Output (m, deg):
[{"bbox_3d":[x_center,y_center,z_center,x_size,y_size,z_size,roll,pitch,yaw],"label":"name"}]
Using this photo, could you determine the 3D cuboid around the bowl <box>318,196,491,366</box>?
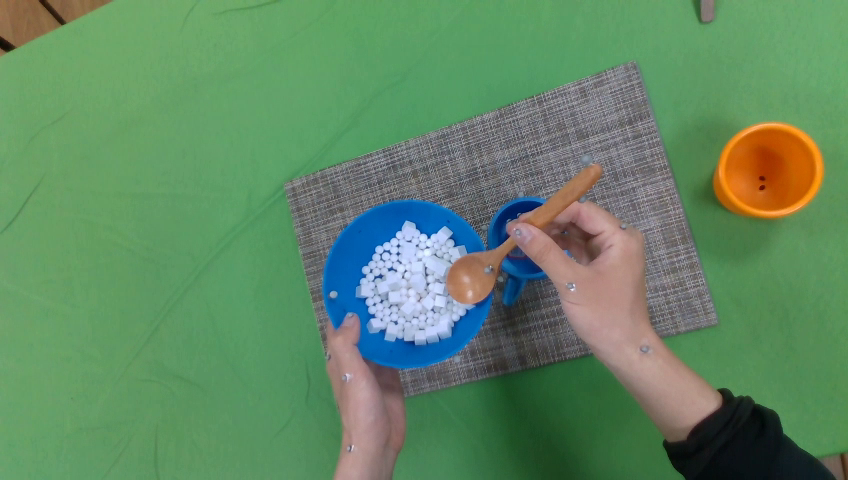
[{"bbox_3d":[-0.015,0.043,0.559,0.151,0.077,0.150,0,77,1],"label":"bowl"}]

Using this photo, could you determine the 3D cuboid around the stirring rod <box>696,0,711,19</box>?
[{"bbox_3d":[0.289,-0.324,0.633,0.014,0.006,0.177,-8,107,10],"label":"stirring rod"}]

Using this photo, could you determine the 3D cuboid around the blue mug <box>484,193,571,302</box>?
[{"bbox_3d":[0.107,0.013,0.645,0.082,0.106,0.116,23,94,15],"label":"blue mug"}]

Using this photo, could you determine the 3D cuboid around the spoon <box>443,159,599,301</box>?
[{"bbox_3d":[0.067,-0.002,0.461,0.041,0.021,0.194,54,143,8],"label":"spoon"}]
